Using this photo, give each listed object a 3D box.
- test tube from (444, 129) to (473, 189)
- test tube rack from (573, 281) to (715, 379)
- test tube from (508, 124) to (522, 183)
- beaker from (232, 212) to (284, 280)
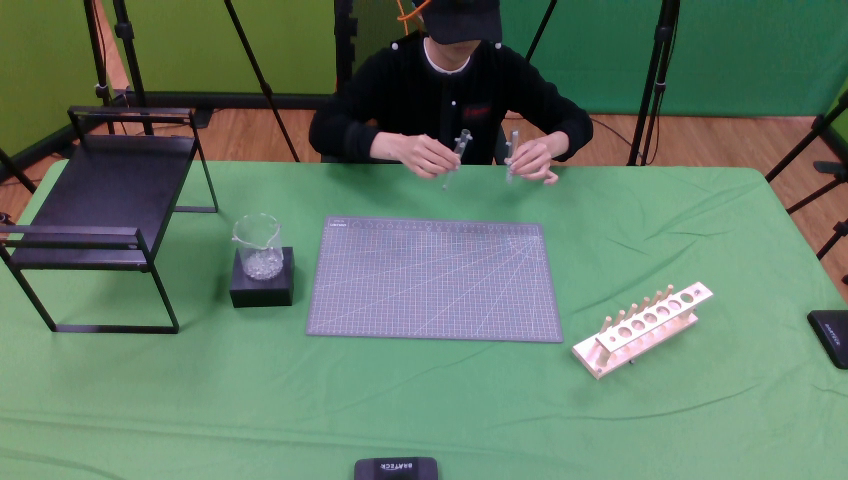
[{"bbox_3d":[0.062,-0.148,1.126,0.017,0.151,0.017,8,52,-10],"label":"test tube"},{"bbox_3d":[0.378,0.140,1.038,0.242,0.085,0.066,-22,51,-23],"label":"test tube rack"},{"bbox_3d":[0.174,-0.163,1.168,0.017,0.151,0.017,-1,53,2],"label":"test tube"},{"bbox_3d":[-0.280,0.016,1.037,0.074,0.101,0.083,-18,50,-20],"label":"beaker"}]
